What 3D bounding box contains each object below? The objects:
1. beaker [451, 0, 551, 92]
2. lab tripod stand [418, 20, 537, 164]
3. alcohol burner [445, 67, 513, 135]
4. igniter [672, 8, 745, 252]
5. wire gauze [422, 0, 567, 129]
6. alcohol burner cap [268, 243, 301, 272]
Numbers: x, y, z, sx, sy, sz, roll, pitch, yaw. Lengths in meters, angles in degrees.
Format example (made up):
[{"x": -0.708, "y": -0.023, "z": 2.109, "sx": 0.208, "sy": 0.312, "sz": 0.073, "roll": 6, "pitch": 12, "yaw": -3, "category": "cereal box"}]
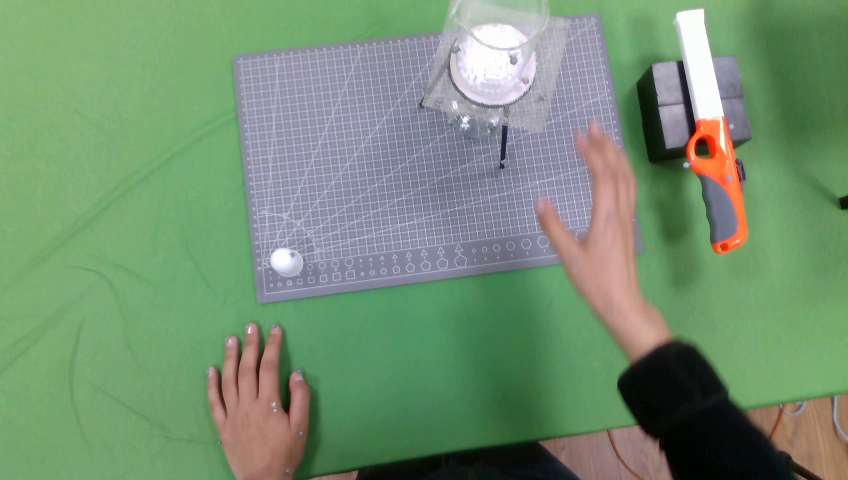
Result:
[{"x": 0.063, "y": -0.184, "z": 0.548, "sx": 0.084, "sy": 0.100, "sz": 0.073, "roll": -6, "pitch": 80, "yaw": -3, "category": "beaker"}, {"x": 0.067, "y": -0.170, "z": 0.661, "sx": 0.148, "sy": 0.132, "sz": 0.148, "roll": 0, "pitch": 80, "yaw": -1, "category": "lab tripod stand"}, {"x": 0.063, "y": -0.160, "z": 0.670, "sx": 0.078, "sy": 0.119, "sz": 0.077, "roll": 0, "pitch": 84, "yaw": -1, "category": "alcohol burner"}, {"x": 0.314, "y": -0.124, "z": 0.672, "sx": 0.057, "sy": 0.025, "sz": 0.275, "roll": -7, "pitch": 82, "yaw": 3, "category": "igniter"}, {"x": 0.071, "y": -0.177, "z": 0.597, "sx": 0.121, "sy": 0.011, "sz": 0.124, "roll": 15, "pitch": 78, "yaw": -1, "category": "wire gauze"}, {"x": -0.158, "y": 0.018, "z": 0.675, "sx": 0.034, "sy": 0.048, "sz": 0.033, "roll": 0, "pitch": 81, "yaw": -2, "category": "alcohol burner cap"}]
